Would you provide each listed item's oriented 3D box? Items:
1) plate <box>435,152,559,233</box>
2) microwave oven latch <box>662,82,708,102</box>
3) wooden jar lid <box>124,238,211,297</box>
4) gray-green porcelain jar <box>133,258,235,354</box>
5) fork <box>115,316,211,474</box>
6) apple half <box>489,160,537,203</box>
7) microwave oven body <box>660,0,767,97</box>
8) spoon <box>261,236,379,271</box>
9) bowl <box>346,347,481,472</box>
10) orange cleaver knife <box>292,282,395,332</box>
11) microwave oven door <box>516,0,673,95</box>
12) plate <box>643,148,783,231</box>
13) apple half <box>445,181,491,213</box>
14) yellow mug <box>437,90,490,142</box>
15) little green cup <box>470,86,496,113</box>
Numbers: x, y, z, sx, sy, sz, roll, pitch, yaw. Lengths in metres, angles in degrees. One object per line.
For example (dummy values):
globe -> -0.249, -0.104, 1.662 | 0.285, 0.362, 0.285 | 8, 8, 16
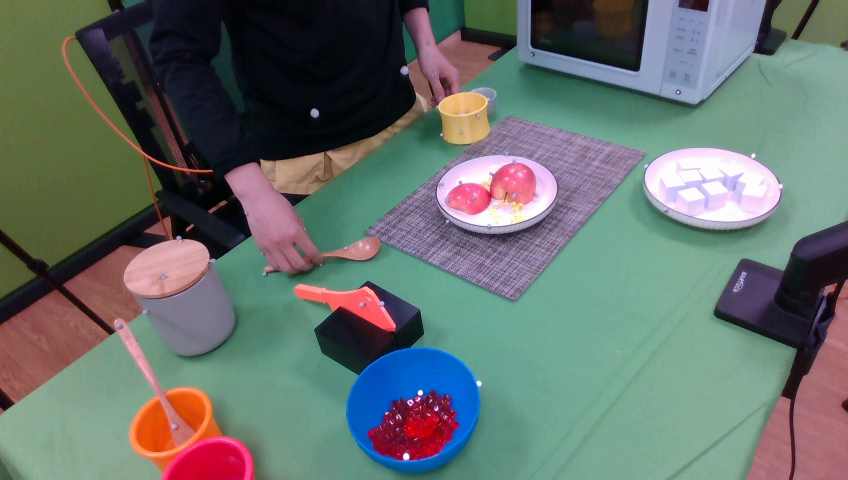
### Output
plate -> 0.124, -0.078, 1.026 | 0.209, 0.038, 0.208 | -4, 40, 4
microwave oven latch -> 0.517, -0.298, 1.202 | 0.078, 0.029, 0.030 | 27, 52, 34
wooden jar lid -> -0.334, 0.038, 0.794 | 0.108, 0.021, 0.108 | -2, 40, 2
gray-green porcelain jar -> -0.328, 0.086, 0.836 | 0.106, 0.127, 0.105 | -4, 41, 4
fork -> -0.308, 0.179, 0.708 | 0.028, 0.018, 0.207 | -30, 89, -22
apple half -> 0.154, -0.106, 1.030 | 0.080, 0.053, 0.075 | 22, 46, 31
microwave oven body -> 0.474, -0.516, 1.313 | 0.438, 0.261, 0.327 | 26, 51, 34
spoon -> -0.166, 0.024, 0.966 | 0.194, 0.022, 0.041 | -9, 59, -3
bowl -> -0.008, 0.205, 0.691 | 0.151, 0.077, 0.150 | -4, 40, 4
orange cleaver knife -> -0.116, 0.091, 0.835 | 0.209, 0.077, 0.012 | 2, 32, 48
microwave oven door -> 0.344, -0.458, 1.256 | 0.353, 0.245, 0.039 | 26, 51, 33
plate -> 0.464, -0.080, 0.986 | 0.207, 0.039, 0.206 | -4, 41, 4
apple half -> 0.076, -0.083, 1.029 | 0.081, 0.033, 0.081 | -2, 42, 2
yellow mug -> 0.070, -0.257, 1.224 | 0.100, 0.064, 0.129 | -33, 43, -25
little green cup -> 0.124, -0.296, 1.284 | 0.061, 0.039, 0.061 | -5, 39, 4
